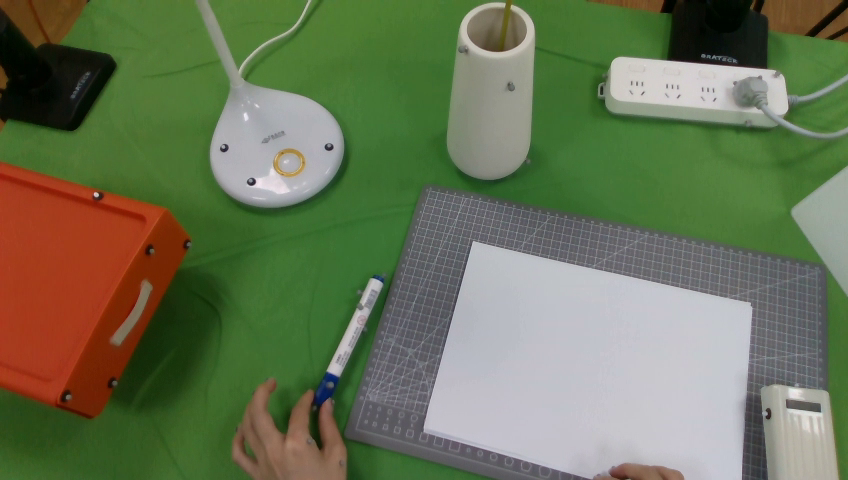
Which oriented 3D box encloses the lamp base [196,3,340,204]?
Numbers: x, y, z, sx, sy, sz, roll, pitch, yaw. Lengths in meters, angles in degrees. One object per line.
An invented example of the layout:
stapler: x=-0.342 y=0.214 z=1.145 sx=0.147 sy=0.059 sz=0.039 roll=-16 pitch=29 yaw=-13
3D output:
lamp base: x=-0.193 y=-0.156 z=0.668 sx=0.160 sy=0.182 sz=0.177 roll=-39 pitch=66 yaw=-16

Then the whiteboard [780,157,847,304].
whiteboard: x=0.542 y=-0.036 z=0.546 sx=0.144 sy=0.307 sz=0.215 roll=-9 pitch=62 yaw=-23

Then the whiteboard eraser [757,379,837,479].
whiteboard eraser: x=0.340 y=0.187 z=0.555 sx=0.055 sy=0.042 sz=0.112 roll=7 pitch=65 yaw=4

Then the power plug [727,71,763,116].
power plug: x=0.370 y=-0.164 z=0.706 sx=0.035 sy=0.053 sz=0.072 roll=16 pitch=67 yaw=11

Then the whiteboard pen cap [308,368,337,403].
whiteboard pen cap: x=-0.101 y=0.144 z=0.604 sx=0.018 sy=0.018 sz=0.033 roll=19 pitch=68 yaw=12

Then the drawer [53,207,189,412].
drawer: x=-0.371 y=0.039 z=0.586 sx=0.211 sy=0.074 sz=0.193 roll=15 pitch=67 yaw=9

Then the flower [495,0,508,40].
flower: x=0.073 y=-0.204 z=0.579 sx=0.038 sy=0.365 sz=0.043 roll=1 pitch=46 yaw=-5

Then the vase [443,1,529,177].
vase: x=0.066 y=-0.153 z=0.646 sx=0.098 sy=0.201 sz=0.097 roll=-1 pitch=63 yaw=3

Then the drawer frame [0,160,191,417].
drawer frame: x=-0.377 y=0.040 z=0.588 sx=0.213 sy=0.083 sz=0.200 roll=15 pitch=66 yaw=7

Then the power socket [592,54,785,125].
power socket: x=0.325 y=-0.185 z=0.744 sx=0.226 sy=0.033 sz=0.071 roll=7 pitch=65 yaw=5

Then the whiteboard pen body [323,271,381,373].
whiteboard pen body: x=-0.079 y=0.095 z=0.627 sx=0.017 sy=0.017 sz=0.140 roll=20 pitch=68 yaw=12
